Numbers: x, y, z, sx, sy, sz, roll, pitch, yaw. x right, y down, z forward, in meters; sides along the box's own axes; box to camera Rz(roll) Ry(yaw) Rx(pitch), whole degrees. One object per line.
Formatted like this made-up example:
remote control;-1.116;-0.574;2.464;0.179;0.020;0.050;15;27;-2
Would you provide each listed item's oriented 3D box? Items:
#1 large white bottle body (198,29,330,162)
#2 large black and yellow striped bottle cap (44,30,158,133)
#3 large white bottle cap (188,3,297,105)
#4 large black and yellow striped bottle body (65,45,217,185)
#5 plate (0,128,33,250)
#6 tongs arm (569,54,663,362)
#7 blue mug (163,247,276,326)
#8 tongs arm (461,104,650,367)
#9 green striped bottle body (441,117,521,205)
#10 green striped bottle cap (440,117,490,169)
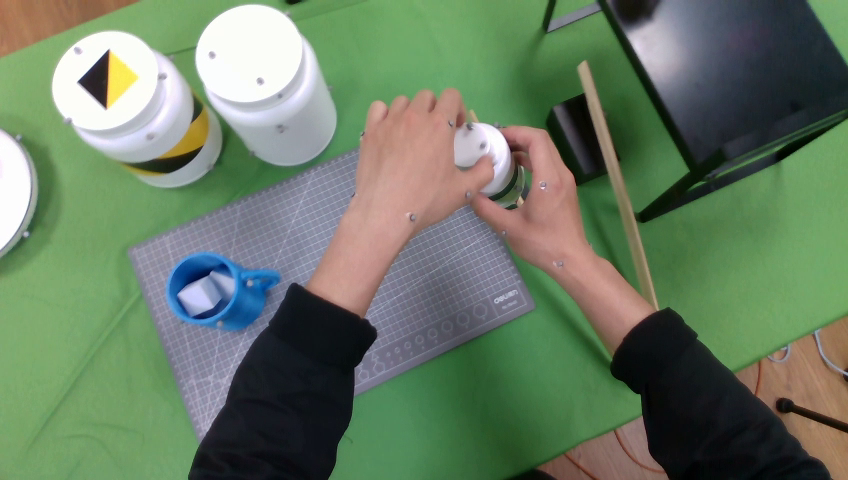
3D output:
large white bottle body;-0.194;-0.185;0.740;0.130;0.185;0.130;0;78;1
large black and yellow striped bottle cap;-0.349;-0.172;0.655;0.115;0.019;0.114;0;79;-1
large white bottle cap;-0.197;-0.203;0.658;0.115;0.018;0.114;0;78;0
large black and yellow striped bottle body;-0.346;-0.153;0.736;0.131;0.184;0.130;0;78;1
plate;-0.614;-0.059;0.796;0.208;0.039;0.206;0;79;1
tongs arm;0.235;-0.040;0.749;0.028;0.027;0.387;-16;91;-11
blue mug;-0.237;0.054;0.733;0.116;0.106;0.082;-18;78;-3
tongs arm;0.161;-0.006;0.741;0.051;0.026;0.385;-30;92;-7
green striped bottle body;0.056;-0.078;0.598;0.063;0.120;0.063;-4;78;18
green striped bottle cap;0.037;-0.088;0.549;0.044;0.020;0.044;-4;77;18
